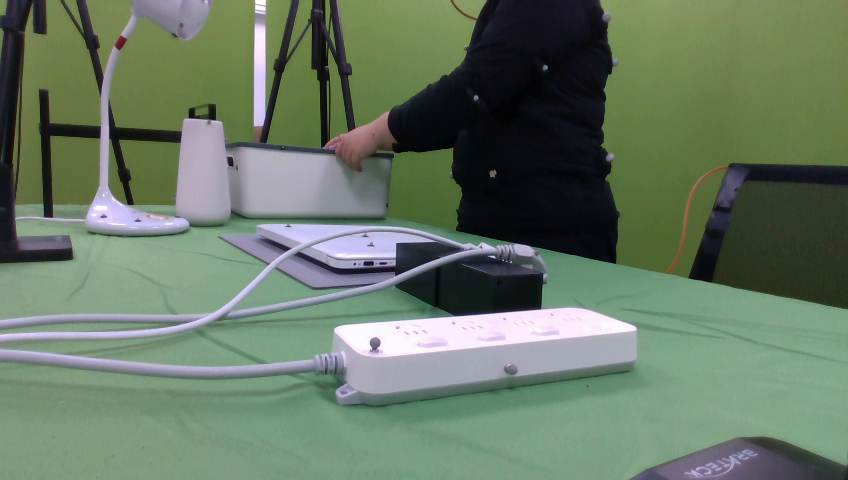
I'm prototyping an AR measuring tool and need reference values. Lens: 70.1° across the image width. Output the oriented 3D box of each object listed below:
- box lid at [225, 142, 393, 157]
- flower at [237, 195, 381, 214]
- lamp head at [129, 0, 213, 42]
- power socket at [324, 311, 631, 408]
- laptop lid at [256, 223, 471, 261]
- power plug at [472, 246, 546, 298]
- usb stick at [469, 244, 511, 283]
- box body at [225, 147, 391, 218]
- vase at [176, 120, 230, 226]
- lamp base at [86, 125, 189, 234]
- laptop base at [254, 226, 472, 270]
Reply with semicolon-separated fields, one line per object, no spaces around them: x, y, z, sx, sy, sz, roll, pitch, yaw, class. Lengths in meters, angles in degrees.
-0.287;-0.216;1.464;0.373;0.015;0.262;-1;7;-28;box lid
-0.284;-0.080;1.482;0.361;0.038;0.044;5;35;7;flower
-0.423;-0.394;0.980;0.123;0.112;0.112;20;7;-3;lamp head
0.042;0.075;0.411;0.228;0.032;0.072;-1;8;-25;power socket
-0.092;0.000;0.912;0.243;0.013;0.355;1;7;-30;laptop lid
0.081;0.030;0.584;0.072;0.052;0.035;11;28;9;power plug
0.080;0.029;0.674;0.059;0.021;0.027;28;26;-29;usb stick
-0.289;-0.143;1.475;0.366;0.160;0.253;-1;9;-29;box body
-0.425;-0.128;1.159;0.098;0.200;0.098;2;9;0;vase
-0.497;-0.105;1.027;0.179;0.180;0.160;1;7;3;lamp base
-0.095;0.011;0.912;0.237;0.023;0.352;3;6;-32;laptop base
